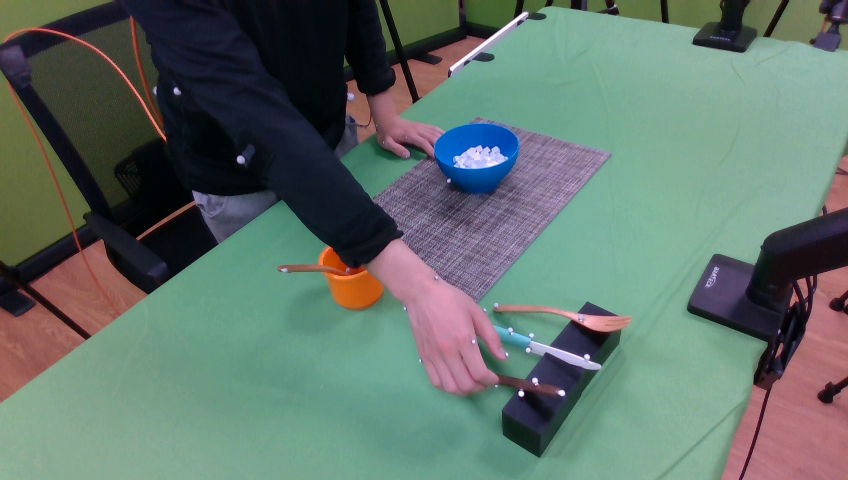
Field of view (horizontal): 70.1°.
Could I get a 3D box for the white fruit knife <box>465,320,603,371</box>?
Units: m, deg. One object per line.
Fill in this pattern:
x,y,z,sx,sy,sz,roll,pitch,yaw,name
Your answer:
0.129,0.129,0.750,0.205,0.027,0.016,11,46,44,white fruit knife

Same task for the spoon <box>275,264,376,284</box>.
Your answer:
-0.133,0.044,0.839,0.041,0.195,0.021,25,95,33,spoon

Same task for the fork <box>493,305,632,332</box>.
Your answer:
0.171,0.097,0.783,0.205,0.019,0.028,4,41,44,fork

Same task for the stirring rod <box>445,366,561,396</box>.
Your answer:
0.088,0.166,0.718,0.175,0.006,0.014,-1,25,48,stirring rod

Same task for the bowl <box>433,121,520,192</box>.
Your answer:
0.094,-0.137,1.064,0.151,0.077,0.150,-4,41,4,bowl
